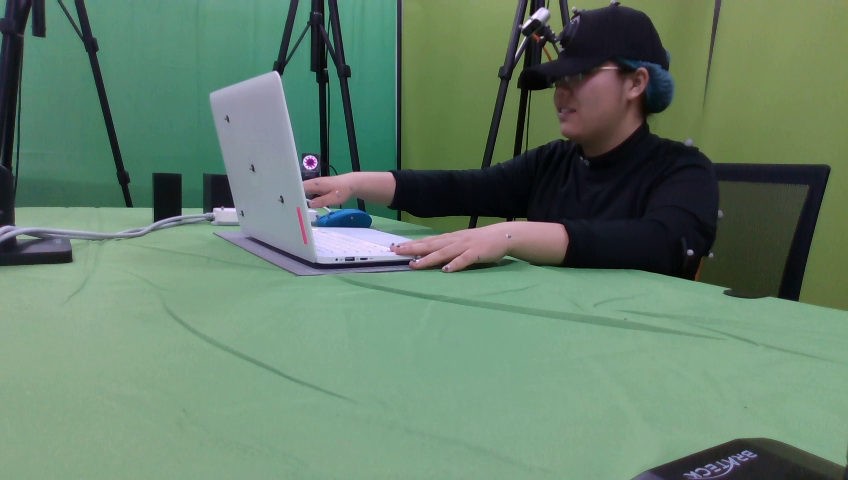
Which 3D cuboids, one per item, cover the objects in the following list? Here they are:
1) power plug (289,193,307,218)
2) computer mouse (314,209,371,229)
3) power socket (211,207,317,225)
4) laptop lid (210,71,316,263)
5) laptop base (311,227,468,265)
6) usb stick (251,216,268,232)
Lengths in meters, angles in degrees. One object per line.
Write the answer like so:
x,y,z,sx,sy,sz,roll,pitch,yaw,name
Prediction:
-0.281,-0.076,1.340,0.035,0.052,0.072,3,6,-17,power plug
-0.173,-0.045,1.284,0.118,0.041,0.062,-4,11,-29,computer mouse
-0.334,-0.051,1.282,0.228,0.032,0.072,-1,9,-28,power socket
-0.240,-0.104,0.861,0.013,0.241,0.355,-16,17,-29,laptop lid
-0.123,0.007,0.952,0.237,0.023,0.352,2,6,-32,laptop base
-0.289,-0.027,1.070,0.021,0.027,0.059,-3,10,-29,usb stick
